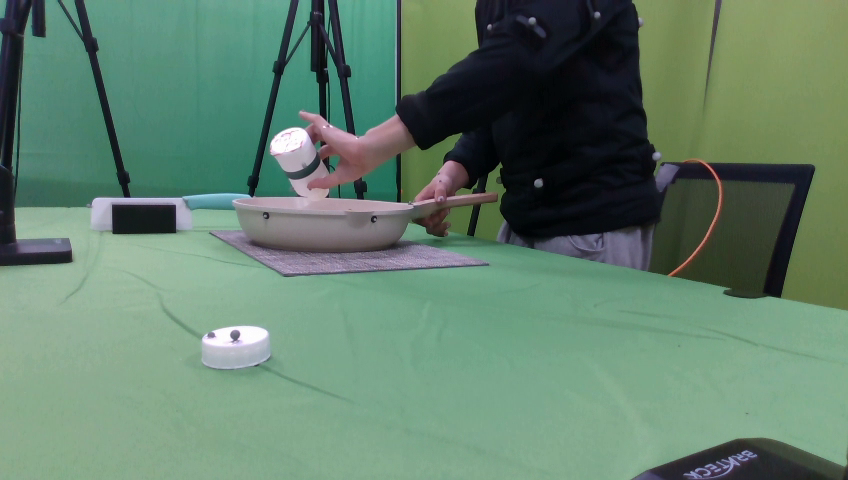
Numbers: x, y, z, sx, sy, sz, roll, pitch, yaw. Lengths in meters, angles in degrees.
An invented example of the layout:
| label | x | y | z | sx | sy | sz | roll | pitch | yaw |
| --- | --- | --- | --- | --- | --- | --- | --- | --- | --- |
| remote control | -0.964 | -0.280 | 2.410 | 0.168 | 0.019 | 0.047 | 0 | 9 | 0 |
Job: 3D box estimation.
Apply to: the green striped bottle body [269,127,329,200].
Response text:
| label | x | y | z | sx | sy | sz | roll | pitch | yaw |
| --- | --- | --- | --- | --- | --- | --- | --- | --- | --- |
| green striped bottle body | -0.196 | -0.118 | 0.977 | 0.063 | 0.063 | 0.119 | 6 | -36 | 24 |

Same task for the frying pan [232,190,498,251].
| label | x | y | z | sx | sy | sz | roll | pitch | yaw |
| --- | --- | --- | --- | --- | --- | --- | --- | --- | --- |
| frying pan | -0.073 | -0.051 | 1.048 | 0.490 | 0.102 | 0.305 | -11 | 13 | -27 |

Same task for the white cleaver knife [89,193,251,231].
| label | x | y | z | sx | sy | sz | roll | pitch | yaw |
| --- | --- | --- | --- | --- | --- | --- | --- | --- | --- |
| white cleaver knife | -0.454 | -0.052 | 1.115 | 0.288 | 0.066 | 0.021 | -4 | 14 | -27 |

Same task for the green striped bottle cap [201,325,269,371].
| label | x | y | z | sx | sy | sz | roll | pitch | yaw |
| --- | --- | --- | --- | --- | --- | --- | --- | --- | --- |
| green striped bottle cap | -0.129 | 0.073 | 0.415 | 0.044 | 0.020 | 0.044 | 2 | 8 | 0 |

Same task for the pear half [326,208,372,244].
| label | x | y | z | sx | sy | sz | roll | pitch | yaw |
| --- | --- | --- | --- | --- | --- | --- | --- | --- | --- |
| pear half | -0.128 | -0.026 | 1.017 | 0.076 | 0.056 | 0.109 | 6 | 5 | -18 |

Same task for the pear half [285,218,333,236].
| label | x | y | z | sx | sy | sz | roll | pitch | yaw |
| --- | --- | --- | --- | --- | --- | --- | --- | --- | --- |
| pear half | -0.198 | -0.023 | 1.054 | 0.088 | 0.031 | 0.070 | -10 | 19 | -44 |
